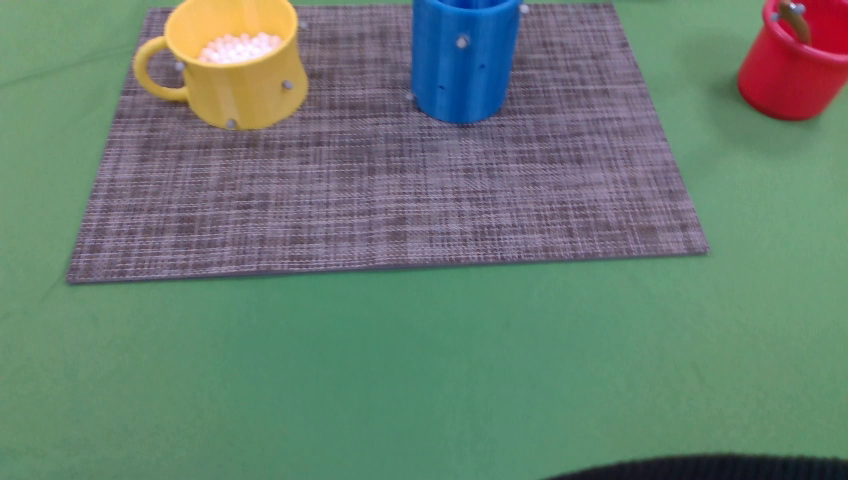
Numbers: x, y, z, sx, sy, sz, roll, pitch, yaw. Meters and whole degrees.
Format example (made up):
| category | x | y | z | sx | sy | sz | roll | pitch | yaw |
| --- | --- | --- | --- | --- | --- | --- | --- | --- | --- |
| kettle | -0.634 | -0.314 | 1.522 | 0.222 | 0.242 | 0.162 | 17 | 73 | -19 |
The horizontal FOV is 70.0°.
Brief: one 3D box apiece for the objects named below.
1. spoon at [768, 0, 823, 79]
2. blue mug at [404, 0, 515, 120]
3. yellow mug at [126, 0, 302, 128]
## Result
| category | x | y | z | sx | sy | sz | roll | pitch | yaw |
| --- | --- | --- | --- | --- | --- | --- | --- | --- | --- |
| spoon | 0.289 | -0.160 | 0.474 | 0.195 | 0.022 | 0.041 | 7 | 38 | -55 |
| blue mug | 0.036 | -0.172 | 0.488 | 0.082 | 0.107 | 0.116 | 35 | 61 | 20 |
| yellow mug | -0.168 | -0.144 | 0.483 | 0.131 | 0.064 | 0.099 | -15 | 58 | -12 |
